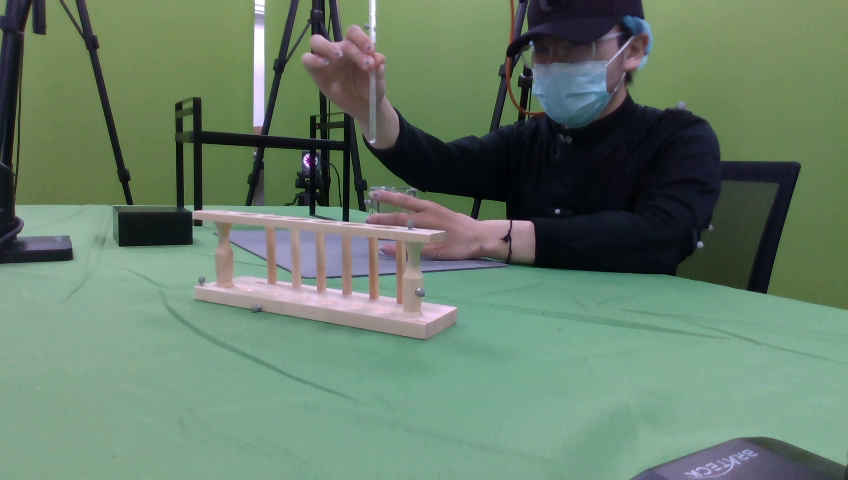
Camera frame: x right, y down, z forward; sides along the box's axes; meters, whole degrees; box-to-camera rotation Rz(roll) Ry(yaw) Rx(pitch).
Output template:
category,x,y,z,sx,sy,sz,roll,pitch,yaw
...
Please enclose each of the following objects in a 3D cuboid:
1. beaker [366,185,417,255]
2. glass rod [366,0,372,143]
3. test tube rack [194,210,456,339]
category,x,y,z,sx,sy,sz,roll,pitch,yaw
beaker,-0.048,-0.030,0.903,0.074,0.100,0.083,-1,8,-22
glass rod,-0.067,-0.212,0.733,0.008,0.199,0.008,-1,-11,0
test tube rack,-0.093,0.023,0.546,0.241,0.085,0.067,6,8,25
